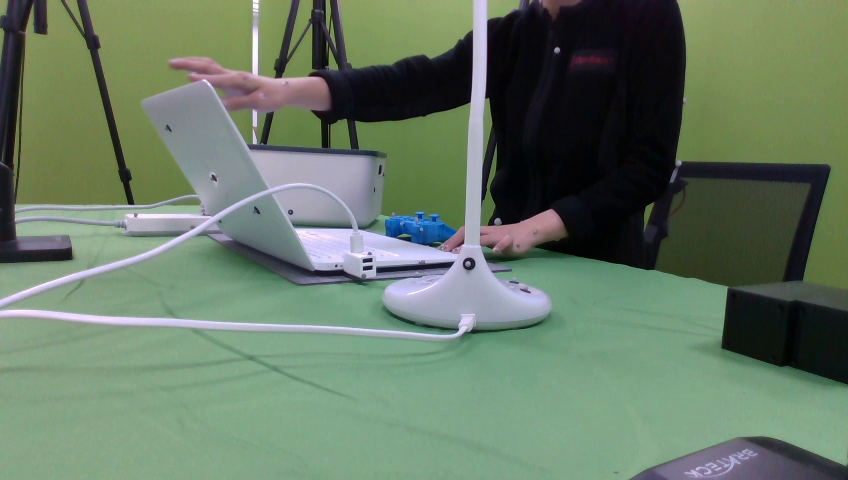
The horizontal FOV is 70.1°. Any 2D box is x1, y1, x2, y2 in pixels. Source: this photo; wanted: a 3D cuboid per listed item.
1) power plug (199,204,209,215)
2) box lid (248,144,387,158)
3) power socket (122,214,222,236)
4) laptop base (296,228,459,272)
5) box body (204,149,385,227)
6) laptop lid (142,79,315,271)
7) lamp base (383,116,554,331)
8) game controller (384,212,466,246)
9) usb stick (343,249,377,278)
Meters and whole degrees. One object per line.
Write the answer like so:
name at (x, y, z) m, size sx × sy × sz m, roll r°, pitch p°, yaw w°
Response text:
power plug at (-0.387, -0.055, 1.089) m, size 0.035 × 0.052 × 0.072 m, roll -1°, pitch 6°, yaw -22°
box lid at (-0.275, -0.197, 1.326) m, size 0.372 × 0.015 × 0.263 m, roll 4°, pitch 8°, yaw 1°
power socket at (-0.399, -0.028, 1.049) m, size 0.228 × 0.032 × 0.072 m, roll -3°, pitch 8°, yaw -34°
laptop base at (-0.123, 0.011, 0.889) m, size 0.237 × 0.023 × 0.352 m, roll 2°, pitch 6°, yaw -35°
box body at (-0.276, -0.124, 1.334) m, size 0.364 × 0.160 × 0.254 m, roll 3°, pitch 7°, yaw 1°
laptop lid at (-0.265, -0.082, 0.775) m, size 0.013 × 0.242 × 0.355 m, roll -37°, pitch 28°, yaw -25°
lamp base at (0.045, -0.019, 0.547) m, size 0.161 × 0.180 × 0.179 m, roll 2°, pitch 10°, yaw -4°
game controller at (-0.003, -0.021, 1.074) m, size 0.097 × 0.051 × 0.154 m, roll -5°, pitch 10°, yaw -32°
usb stick at (-0.076, 0.026, 0.687) m, size 0.021 × 0.027 × 0.059 m, roll -8°, pitch 9°, yaw -31°
